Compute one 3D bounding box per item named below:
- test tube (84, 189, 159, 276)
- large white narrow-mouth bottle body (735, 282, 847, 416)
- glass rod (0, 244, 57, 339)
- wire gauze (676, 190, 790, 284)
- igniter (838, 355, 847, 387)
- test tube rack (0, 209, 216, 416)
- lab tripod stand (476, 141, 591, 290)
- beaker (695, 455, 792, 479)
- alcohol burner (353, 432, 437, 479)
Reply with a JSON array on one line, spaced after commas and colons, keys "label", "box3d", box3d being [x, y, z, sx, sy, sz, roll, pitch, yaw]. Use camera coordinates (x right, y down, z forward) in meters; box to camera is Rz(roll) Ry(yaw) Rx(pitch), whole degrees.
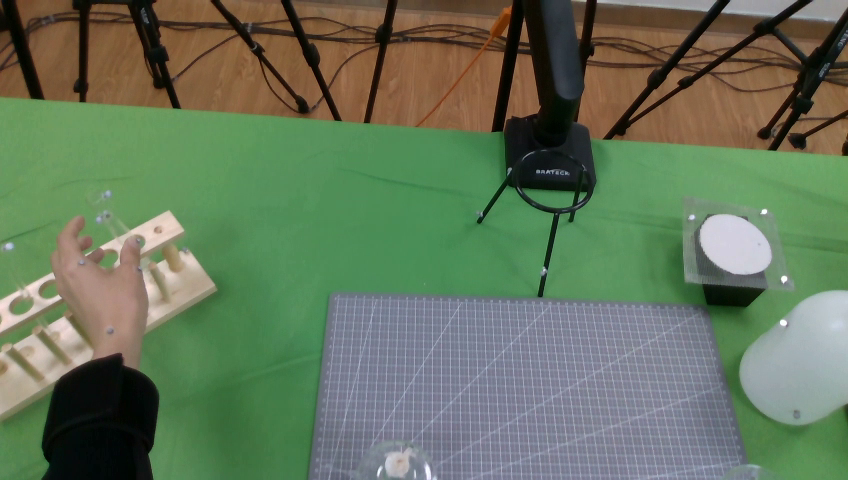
[{"label": "test tube", "box3d": [-0.308, -0.003, 0.625, 0.017, 0.151, 0.017, 0, 58, 1]}, {"label": "large white narrow-mouth bottle body", "box3d": [0.401, 0.100, 0.605, 0.102, 0.196, 0.101, 2, 56, -2]}, {"label": "glass rod", "box3d": [-0.382, 0.041, 0.571, 0.008, 0.201, 0.008, 5, 48, -5]}, {"label": "wire gauze", "box3d": [0.364, -0.004, 0.723, 0.121, 0.011, 0.124, 9, 57, 1]}, {"label": "igniter", "box3d": [0.476, 0.248, 0.615, 0.057, 0.025, 0.274, 12, 56, -8]}, {"label": "test tube rack", "box3d": [-0.351, 0.072, 0.632, 0.242, 0.086, 0.066, -34, 65, -23]}, {"label": "lab tripod stand", "box3d": [0.136, -0.035, 0.710, 0.148, 0.132, 0.147, 3, 58, -4]}, {"label": "beaker", "box3d": [0.279, 0.247, 0.555, 0.084, 0.101, 0.073, 7, 56, 2]}, {"label": "alcohol burner", "box3d": [-0.025, 0.208, 0.548, 0.078, 0.120, 0.077, 3, 56, -4]}]
